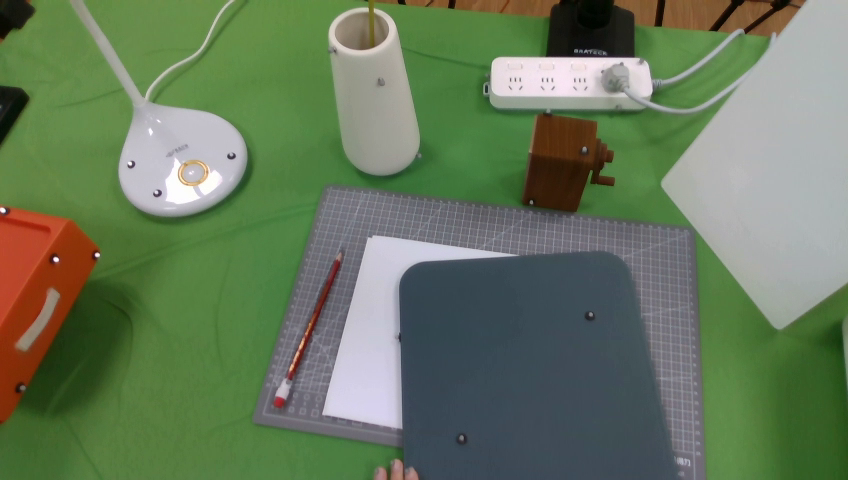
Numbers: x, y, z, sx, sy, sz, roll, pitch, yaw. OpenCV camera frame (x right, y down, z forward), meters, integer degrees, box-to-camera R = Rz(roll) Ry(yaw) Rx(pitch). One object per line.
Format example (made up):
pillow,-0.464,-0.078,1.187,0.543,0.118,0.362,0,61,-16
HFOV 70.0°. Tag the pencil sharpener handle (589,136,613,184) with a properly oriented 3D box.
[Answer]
pencil sharpener handle,0.205,-0.088,0.686,0.030,0.068,0.035,10,60,8

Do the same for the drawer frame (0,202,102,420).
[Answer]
drawer frame,-0.485,0.055,0.614,0.213,0.083,0.200,12,62,6

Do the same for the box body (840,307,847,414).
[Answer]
box body,0.518,0.200,0.496,0.254,0.162,0.361,10,62,8

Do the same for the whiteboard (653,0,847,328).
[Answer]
whiteboard,0.427,-0.089,0.614,0.144,0.307,0.215,-12,59,-26

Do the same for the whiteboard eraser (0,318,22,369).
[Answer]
whiteboard eraser,-0.462,0.103,0.603,0.112,0.042,0.055,3,54,12

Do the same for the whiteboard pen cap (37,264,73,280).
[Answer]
whiteboard pen cap,-0.393,0.035,0.643,0.033,0.018,0.018,-4,60,9

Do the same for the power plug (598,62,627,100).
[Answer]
power plug,0.239,-0.195,0.774,0.035,0.053,0.072,11,63,9

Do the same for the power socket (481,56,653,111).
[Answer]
power socket,0.191,-0.210,0.811,0.227,0.033,0.071,2,62,3

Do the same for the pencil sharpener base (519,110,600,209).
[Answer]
pencil sharpener base,0.156,-0.090,0.703,0.076,0.108,0.061,10,61,7

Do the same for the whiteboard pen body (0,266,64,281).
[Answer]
whiteboard pen body,-0.454,0.036,0.644,0.141,0.017,0.017,0,60,0

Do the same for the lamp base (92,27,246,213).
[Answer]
lamp base,-0.321,-0.148,0.711,0.178,0.182,0.160,38,68,24

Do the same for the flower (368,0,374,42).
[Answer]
flower,-0.055,-0.221,0.637,0.038,0.365,0.043,-3,42,-7

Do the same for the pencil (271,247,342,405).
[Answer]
pencil,-0.125,0.088,0.668,0.012,0.012,0.193,14,61,10

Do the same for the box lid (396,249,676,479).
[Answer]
box lid,0.106,0.175,0.611,0.263,0.015,0.368,-3,61,0

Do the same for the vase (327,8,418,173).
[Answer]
vase,-0.061,-0.166,0.701,0.098,0.202,0.097,-2,60,3

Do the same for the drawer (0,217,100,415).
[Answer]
drawer,-0.478,0.054,0.611,0.211,0.074,0.193,11,63,8
